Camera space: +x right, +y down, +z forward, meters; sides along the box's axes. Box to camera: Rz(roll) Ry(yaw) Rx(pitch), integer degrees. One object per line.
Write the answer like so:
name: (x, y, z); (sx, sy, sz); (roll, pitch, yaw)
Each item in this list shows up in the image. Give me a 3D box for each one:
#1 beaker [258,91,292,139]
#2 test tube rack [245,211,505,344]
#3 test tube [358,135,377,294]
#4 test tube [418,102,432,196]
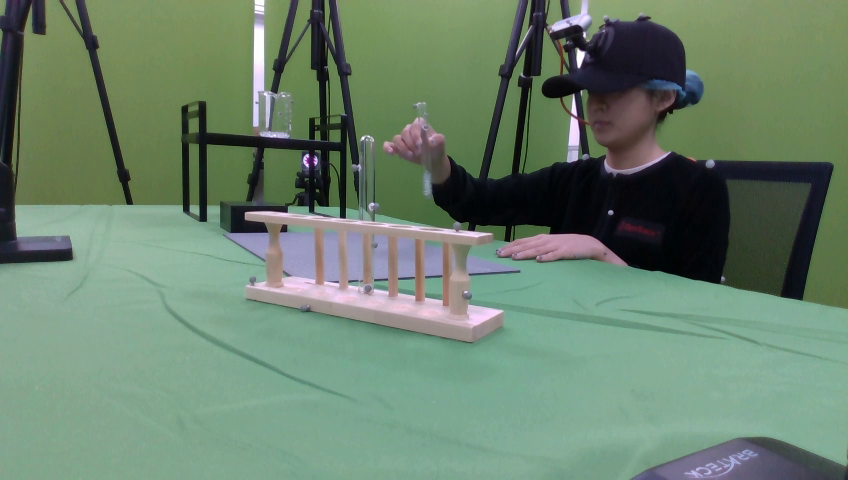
beaker: (-0.331, -0.276, 1.343); (0.074, 0.100, 0.083); (0, 8, -20)
test tube rack: (-0.049, 0.025, 0.547); (0.241, 0.085, 0.067); (7, 8, 28)
test tube: (-0.053, -0.022, 0.565); (0.017, 0.150, 0.017); (2, 6, 0)
test tube: (0.002, -0.145, 0.970); (0.017, 0.150, 0.017); (-3, 12, 1)
